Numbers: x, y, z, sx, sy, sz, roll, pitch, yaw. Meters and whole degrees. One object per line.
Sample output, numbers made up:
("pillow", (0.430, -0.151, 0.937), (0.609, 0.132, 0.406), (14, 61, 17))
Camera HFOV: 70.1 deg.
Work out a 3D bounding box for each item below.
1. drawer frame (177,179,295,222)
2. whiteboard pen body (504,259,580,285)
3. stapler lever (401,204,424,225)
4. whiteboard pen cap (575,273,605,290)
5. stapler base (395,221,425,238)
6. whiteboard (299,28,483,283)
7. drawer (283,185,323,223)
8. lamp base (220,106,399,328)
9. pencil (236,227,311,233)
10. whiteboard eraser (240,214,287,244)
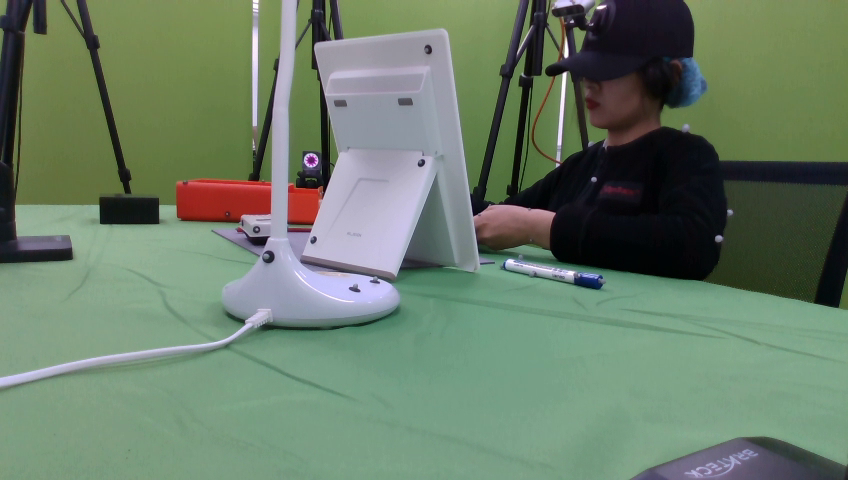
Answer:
("drawer frame", (-0.397, -0.088, 1.315), (0.214, 0.082, 0.201), (1, 8, -7))
("whiteboard pen body", (0.157, 0.042, 0.764), (0.017, 0.017, 0.140), (-4, 11, -41))
("stapler lever", (-0.023, -0.049, 1.169), (0.027, 0.040, 0.118), (9, 2, -11))
("whiteboard pen cap", (0.197, 0.048, 0.719), (0.018, 0.018, 0.033), (-4, 11, -41))
("stapler base", (-0.026, -0.023, 1.170), (0.041, 0.024, 0.130), (9, 4, -11))
("whiteboard", (-0.075, -0.082, 0.741), (0.216, 0.305, 0.144), (9, 30, 38))
("drawer", (-0.329, -0.085, 1.326), (0.212, 0.073, 0.194), (1, 8, -7))
("lamp base", (-0.101, -0.023, 0.531), (0.160, 0.180, 0.179), (4, 10, 10))
("pencil", (-0.239, -0.017, 1.093), (0.195, 0.012, 0.012), (1, 7, -27))
("whiteboard eraser", (-0.256, -0.018, 0.958), (0.056, 0.042, 0.112), (0, 8, -25))
